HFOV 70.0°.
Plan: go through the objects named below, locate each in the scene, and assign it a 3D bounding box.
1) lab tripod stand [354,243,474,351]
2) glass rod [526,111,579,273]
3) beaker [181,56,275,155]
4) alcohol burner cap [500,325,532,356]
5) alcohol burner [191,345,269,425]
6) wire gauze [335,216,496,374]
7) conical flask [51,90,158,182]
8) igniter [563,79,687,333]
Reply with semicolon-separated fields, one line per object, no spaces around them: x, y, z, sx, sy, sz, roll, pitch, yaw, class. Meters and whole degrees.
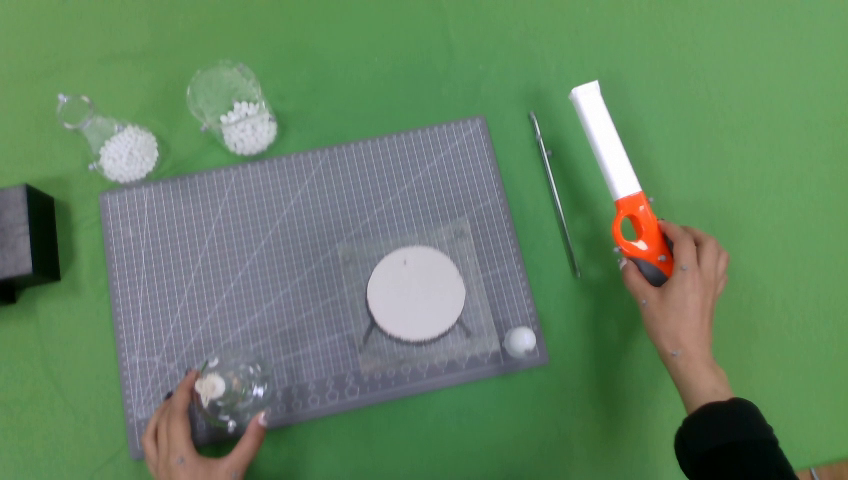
-0.014;0.064;0.599;0.148;0.132;0.147;0;79;-1;lab tripod stand
0.147;-0.058;0.694;0.008;0.008;0.198;-13;78;-4;glass rod
-0.205;-0.140;0.661;0.084;0.100;0.074;23;78;4;beaker
0.099;0.104;0.638;0.034;0.048;0.033;0;77;-1;alcohol burner cap
-0.193;0.141;0.590;0.078;0.119;0.077;0;79;-2;alcohol burner
-0.009;0.048;0.533;0.125;0.011;0.121;-11;79;-2;wire gauze
-0.341;-0.114;0.641;0.075;0.122;0.075;0;77;-1;conical flask
0.211;-0.037;0.633;0.057;0.025;0.275;-20;84;-7;igniter
